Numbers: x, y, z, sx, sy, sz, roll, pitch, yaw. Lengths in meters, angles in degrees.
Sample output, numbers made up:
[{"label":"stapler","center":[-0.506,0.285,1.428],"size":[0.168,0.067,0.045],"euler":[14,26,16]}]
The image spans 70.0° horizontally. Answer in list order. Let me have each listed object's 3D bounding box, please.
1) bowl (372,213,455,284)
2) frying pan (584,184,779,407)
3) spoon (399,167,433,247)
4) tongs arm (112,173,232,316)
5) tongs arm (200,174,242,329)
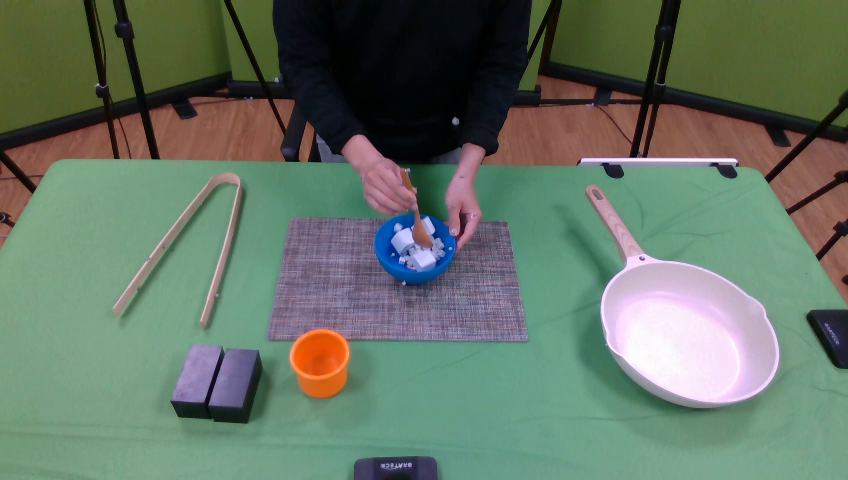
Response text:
[{"label":"bowl","center":[-0.021,0.029,1.124],"size":[0.151,0.077,0.150],"euler":[2,46,-2]},{"label":"frying pan","center":[0.412,0.079,1.097],"size":[0.307,0.103,0.484],"euler":[-10,56,-15]},{"label":"spoon","center":[-0.017,-0.052,1.031],"size":[0.041,0.195,0.021],"euler":[15,50,28]},{"label":"tongs arm","center":[-0.467,-0.005,1.157],"size":[0.051,0.026,0.382],"euler":[11,45,4]},{"label":"tongs arm","center":[-0.387,0.008,1.158],"size":[0.028,0.028,0.385],"euler":[-1,46,-3]}]
